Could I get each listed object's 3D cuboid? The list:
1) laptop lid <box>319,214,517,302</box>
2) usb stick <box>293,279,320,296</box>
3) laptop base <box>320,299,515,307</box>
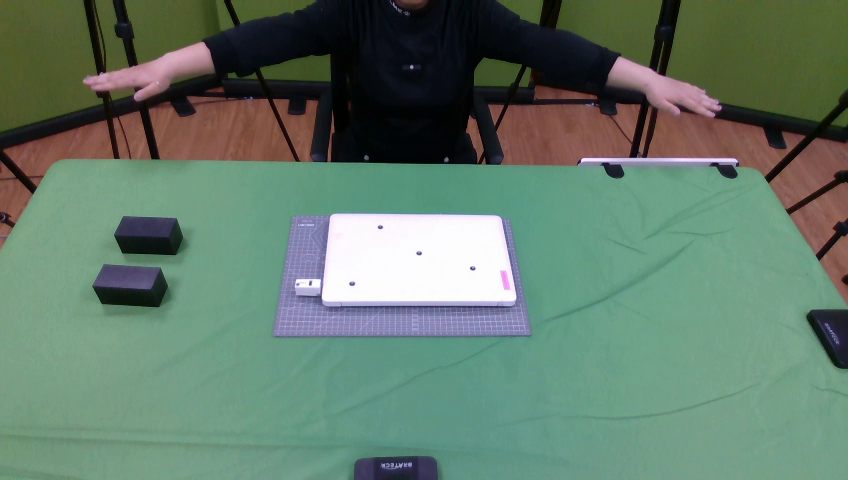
[{"bbox_3d":[-0.013,0.029,1.154,0.357,0.013,0.240,2,43,-3],"label":"laptop lid"},{"bbox_3d":[-0.202,0.086,1.083,0.059,0.027,0.021,3,46,-5],"label":"usb stick"},{"bbox_3d":[-0.013,0.039,1.160,0.355,0.023,0.234,0,43,-4],"label":"laptop base"}]
